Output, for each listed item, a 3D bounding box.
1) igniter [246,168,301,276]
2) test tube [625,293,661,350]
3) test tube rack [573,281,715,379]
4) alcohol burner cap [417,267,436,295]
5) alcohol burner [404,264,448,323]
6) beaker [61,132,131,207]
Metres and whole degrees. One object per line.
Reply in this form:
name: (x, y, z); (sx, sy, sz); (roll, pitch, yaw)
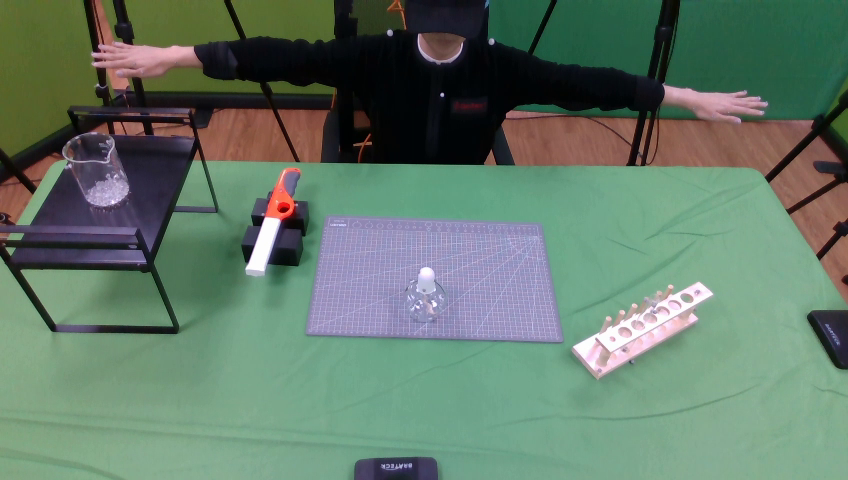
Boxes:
igniter: (-0.282, -0.043, 1.149); (0.057, 0.025, 0.275); (8, 48, -1)
test tube: (0.350, 0.134, 0.973); (0.017, 0.151, 0.017); (1, 49, -1)
test tube rack: (0.378, 0.140, 1.038); (0.242, 0.085, 0.066); (-22, 51, -23)
alcohol burner cap: (0.004, 0.066, 1.019); (0.034, 0.048, 0.033); (0, 47, 1)
alcohol burner: (0.003, 0.087, 1.042); (0.078, 0.120, 0.077); (1, 45, 0)
beaker: (-0.512, -0.107, 0.959); (0.083, 0.101, 0.074); (29, 51, 22)
